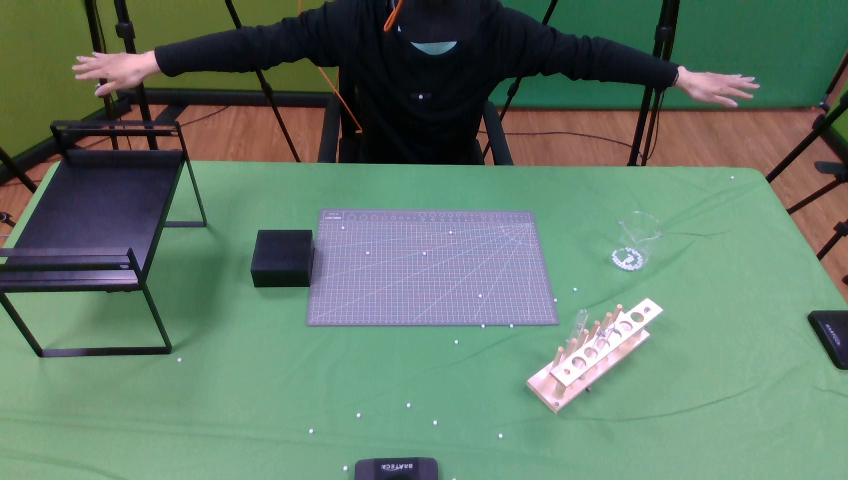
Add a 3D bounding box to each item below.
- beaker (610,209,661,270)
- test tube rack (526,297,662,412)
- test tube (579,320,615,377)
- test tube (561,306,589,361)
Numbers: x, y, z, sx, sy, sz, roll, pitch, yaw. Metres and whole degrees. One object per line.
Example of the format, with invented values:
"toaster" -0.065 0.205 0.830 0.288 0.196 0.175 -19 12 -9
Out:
"beaker" 0.404 0.005 1.170 0.074 0.101 0.083 20 49 15
"test tube rack" 0.284 0.176 1.007 0.242 0.085 0.066 -28 54 -27
"test tube" 0.265 0.171 0.941 0.017 0.151 0.017 4 49 -4
"test tube" 0.239 0.153 0.964 0.017 0.151 0.017 1 48 -1
